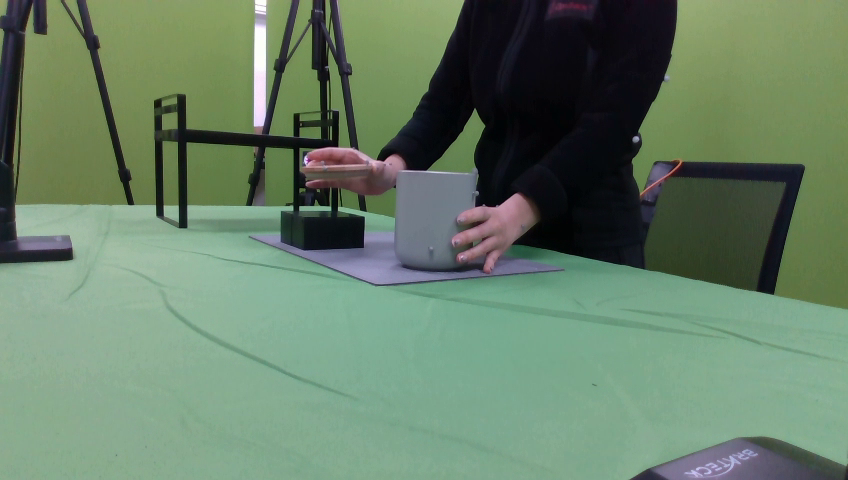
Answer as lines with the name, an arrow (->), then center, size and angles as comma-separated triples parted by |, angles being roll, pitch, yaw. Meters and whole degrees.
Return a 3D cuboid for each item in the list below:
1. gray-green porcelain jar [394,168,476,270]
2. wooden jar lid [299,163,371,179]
gray-green porcelain jar -> 0.014, -0.029, 0.793 | 0.106, 0.126, 0.106 | 2, 7, 0
wooden jar lid -> -0.134, -0.104, 0.916 | 0.108, 0.020, 0.108 | -1, 10, 1
